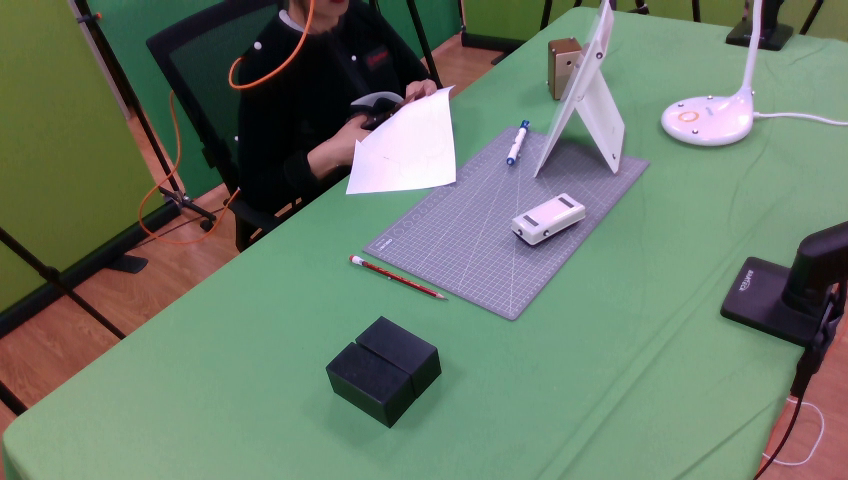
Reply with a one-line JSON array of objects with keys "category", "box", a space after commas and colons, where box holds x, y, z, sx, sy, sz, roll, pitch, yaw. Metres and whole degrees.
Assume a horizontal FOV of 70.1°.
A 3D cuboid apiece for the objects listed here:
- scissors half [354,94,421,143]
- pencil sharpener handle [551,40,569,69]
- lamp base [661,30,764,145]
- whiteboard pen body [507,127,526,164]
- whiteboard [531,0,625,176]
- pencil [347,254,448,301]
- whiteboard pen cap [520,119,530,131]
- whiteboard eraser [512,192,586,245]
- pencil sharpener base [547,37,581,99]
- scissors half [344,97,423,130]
[{"category": "scissors half", "box": [-0.076, -0.256, 1.273, 0.174, 0.040, 0.012, -33, 37, 22]}, {"category": "pencil sharpener handle", "box": [0.291, -0.409, 1.320, 0.036, 0.068, 0.030, 2, 40, -6]}, {"category": "lamp base", "box": [0.535, -0.287, 1.096, 0.179, 0.181, 0.159, -10, 40, -4]}, {"category": "whiteboard pen body", "box": [0.181, -0.189, 1.162, 0.017, 0.017, 0.140, 7, 42, 19]}, {"category": "whiteboard", "box": [0.320, -0.258, 1.050, 0.144, 0.306, 0.217, 22, 45, 5]}, {"category": "pencil", "box": [-0.044, 0.058, 0.933, 0.192, 0.012, 0.012, 22, 49, 28]}, {"category": "whiteboard pen cap", "box": [0.199, -0.226, 1.204, 0.018, 0.018, 0.033, 7, 41, 18]}, {"category": "whiteboard eraser", "box": [0.199, -0.032, 0.962, 0.113, 0.042, 0.055, -27, 43, -20]}, {"category": "pencil sharpener base", "box": [0.299, -0.368, 1.290, 0.061, 0.107, 0.076, -8, 40, 2]}, {"category": "scissors half", "box": [-0.086, -0.269, 1.259, 0.175, 0.040, 0.012, -16, 47, 7]}]
